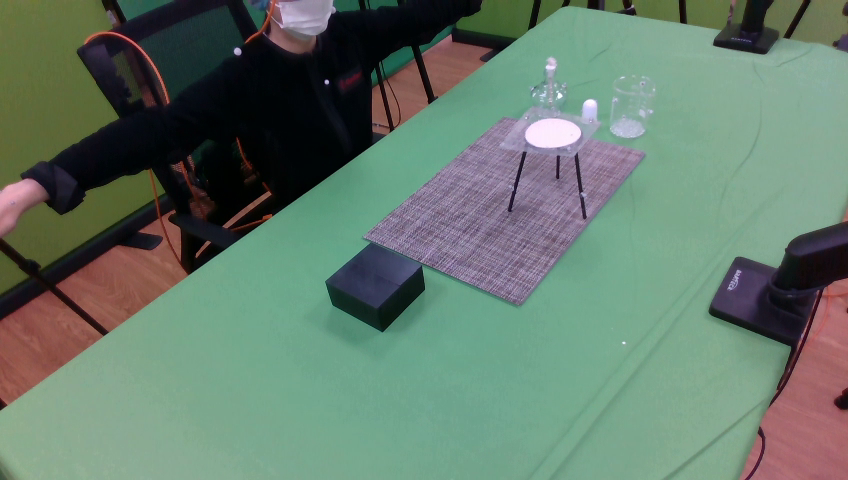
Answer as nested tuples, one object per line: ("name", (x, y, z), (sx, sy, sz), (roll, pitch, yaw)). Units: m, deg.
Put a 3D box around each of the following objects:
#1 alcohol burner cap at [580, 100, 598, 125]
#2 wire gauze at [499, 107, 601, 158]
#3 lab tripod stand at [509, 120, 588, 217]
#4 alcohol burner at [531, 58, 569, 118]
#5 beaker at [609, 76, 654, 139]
("alcohol burner cap", (0.331, -0.258, 1.210), (0.034, 0.048, 0.033), (-5, 41, 5))
("wire gauze", (0.198, -0.168, 0.943), (0.120, 0.011, 0.125), (17, 47, 27))
("lab tripod stand", (0.207, -0.114, 0.983), (0.148, 0.132, 0.147), (-5, 42, 5))
("alcohol burner", (0.255, -0.311, 1.227), (0.078, 0.119, 0.077), (-6, 41, 6))
("beaker", (0.393, -0.248, 1.144), (0.074, 0.101, 0.083), (-32, 47, -24))
